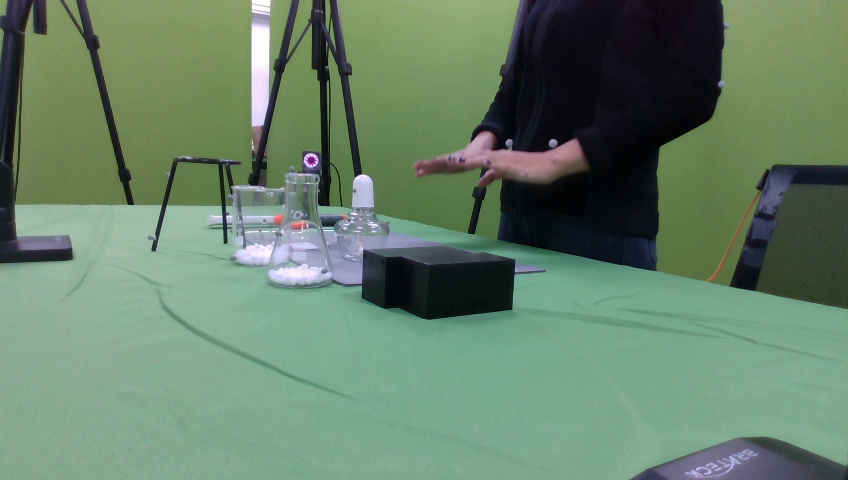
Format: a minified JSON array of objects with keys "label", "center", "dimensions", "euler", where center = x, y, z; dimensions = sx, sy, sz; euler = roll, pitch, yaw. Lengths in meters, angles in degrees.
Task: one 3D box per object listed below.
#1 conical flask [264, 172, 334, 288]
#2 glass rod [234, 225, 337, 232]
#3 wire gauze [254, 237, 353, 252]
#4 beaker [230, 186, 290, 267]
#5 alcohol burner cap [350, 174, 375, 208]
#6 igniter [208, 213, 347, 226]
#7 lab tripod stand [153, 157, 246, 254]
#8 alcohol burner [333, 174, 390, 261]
[{"label":"conical flask","center":[-0.136,-0.013,0.660],"dimensions":[0.075,0.122,0.075],"euler":[2,7,0]},{"label":"glass rod","center":[-0.255,-0.022,1.136],"dimensions":[0.201,0.008,0.008],"euler":[-3,8,-33]},{"label":"wire gauze","center":[-0.188,0.004,0.940],"dimensions":[0.122,0.011,0.124],"euler":[-2,6,-34]},{"label":"beaker","center":[-0.209,-0.019,0.778],"dimensions":[0.074,0.100,0.084],"euler":[3,7,4]},{"label":"alcohol burner cap","center":[-0.085,-0.067,0.829],"dimensions":[0.034,0.048,0.034],"euler":[0,2,0]},{"label":"igniter","center":[-0.283,-0.041,1.200],"dimensions":[0.278,0.025,0.057],"euler":[-2,-2,-34]},{"label":"lab tripod stand","center":[-0.305,-0.051,0.865],"dimensions":[0.148,0.131,0.148],"euler":[4,7,0]},{"label":"alcohol burner","center":[-0.085,-0.031,0.832],"dimensions":[0.078,0.119,0.078],"euler":[3,5,0]}]
